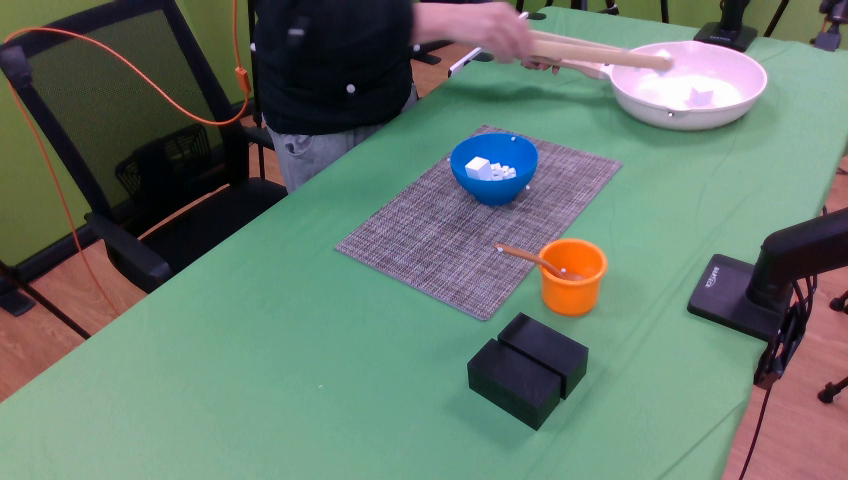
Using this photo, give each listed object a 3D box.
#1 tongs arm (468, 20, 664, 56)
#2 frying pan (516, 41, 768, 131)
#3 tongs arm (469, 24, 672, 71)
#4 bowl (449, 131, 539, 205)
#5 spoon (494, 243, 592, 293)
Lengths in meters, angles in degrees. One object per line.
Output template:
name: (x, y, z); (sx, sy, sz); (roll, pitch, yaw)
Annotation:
tongs arm: (0.256, -0.343, 1.054); (0.390, 0.028, 0.028); (1, 47, -19)
frying pan: (0.424, -0.338, 1.236); (0.486, 0.103, 0.307); (18, 45, 15)
tongs arm: (0.261, -0.328, 1.038); (0.387, 0.026, 0.050); (-2, 44, -22)
bowl: (0.120, -0.114, 1.034); (0.151, 0.077, 0.150); (-4, 41, 4)
spoon: (0.161, 0.034, 0.808); (0.021, 0.195, 0.041); (-48, 40, 20)
